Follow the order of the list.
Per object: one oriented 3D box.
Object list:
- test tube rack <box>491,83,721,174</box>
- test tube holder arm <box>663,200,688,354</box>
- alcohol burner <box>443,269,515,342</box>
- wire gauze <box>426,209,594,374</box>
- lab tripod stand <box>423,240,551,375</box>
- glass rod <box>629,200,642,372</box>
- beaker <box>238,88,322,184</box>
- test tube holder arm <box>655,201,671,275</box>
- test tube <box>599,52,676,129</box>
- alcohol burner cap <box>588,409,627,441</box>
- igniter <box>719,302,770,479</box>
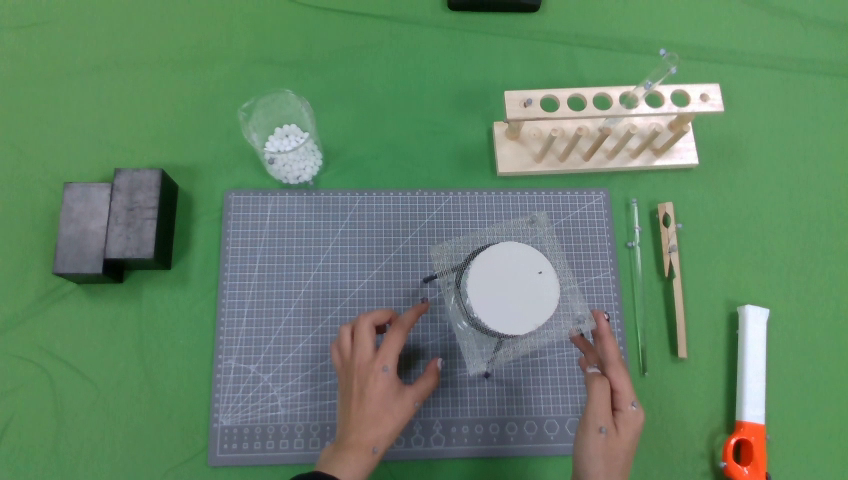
[{"bbox_3d":[0.206,-0.127,0.701,0.242,0.085,0.066,-3,75,-4],"label":"test tube rack"},{"bbox_3d":[0.287,0.041,0.694,0.013,0.015,0.177,-10,73,29],"label":"test tube holder arm"},{"bbox_3d":[0.059,0.064,0.623,0.078,0.119,0.077,1,73,-2],"label":"alcohol burner"},{"bbox_3d":[0.077,0.043,0.550,0.121,0.011,0.124,-18,76,-7],"label":"wire gauze"},{"bbox_3d":[0.065,0.060,0.615,0.148,0.132,0.147,0,76,-1],"label":"lab tripod stand"},{"bbox_3d":[0.244,0.050,0.696,0.008,0.008,0.199,2,78,-3],"label":"glass rod"},{"bbox_3d":[-0.154,-0.110,0.667,0.084,0.100,0.073,17,74,2],"label":"beaker"},{"bbox_3d":[0.280,-0.002,0.707,0.010,0.015,0.087,-10,74,29],"label":"test tube holder arm"},{"bbox_3d":[0.227,-0.157,0.659,0.017,0.150,0.017,3,74,-9],"label":"test tube"},{"bbox_3d":[0.195,0.193,0.635,0.034,0.048,0.033,1,75,-3],"label":"alcohol burner cap"},{"bbox_3d":[0.346,0.203,0.652,0.057,0.025,0.275,13,75,-10],"label":"igniter"}]
